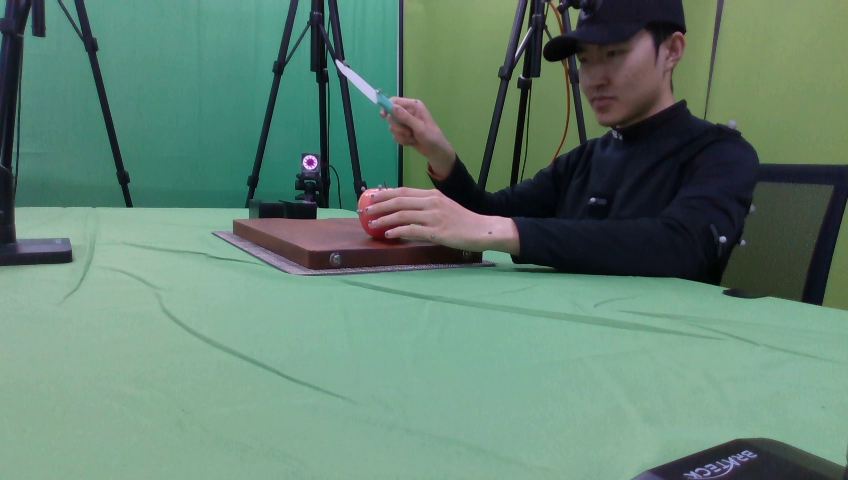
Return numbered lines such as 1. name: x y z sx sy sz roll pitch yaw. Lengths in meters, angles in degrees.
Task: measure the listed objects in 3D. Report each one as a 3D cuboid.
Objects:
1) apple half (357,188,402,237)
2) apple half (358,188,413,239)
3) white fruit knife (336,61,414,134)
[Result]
1. apple half: -0.073 -0.042 0.903 0.082 0.081 0.032 -3 10 -37
2. apple half: -0.049 -0.037 0.872 0.081 0.074 0.053 1 10 -39
3. white fruit knife: -0.081 -0.247 1.048 0.016 0.027 0.208 -6 -26 36
